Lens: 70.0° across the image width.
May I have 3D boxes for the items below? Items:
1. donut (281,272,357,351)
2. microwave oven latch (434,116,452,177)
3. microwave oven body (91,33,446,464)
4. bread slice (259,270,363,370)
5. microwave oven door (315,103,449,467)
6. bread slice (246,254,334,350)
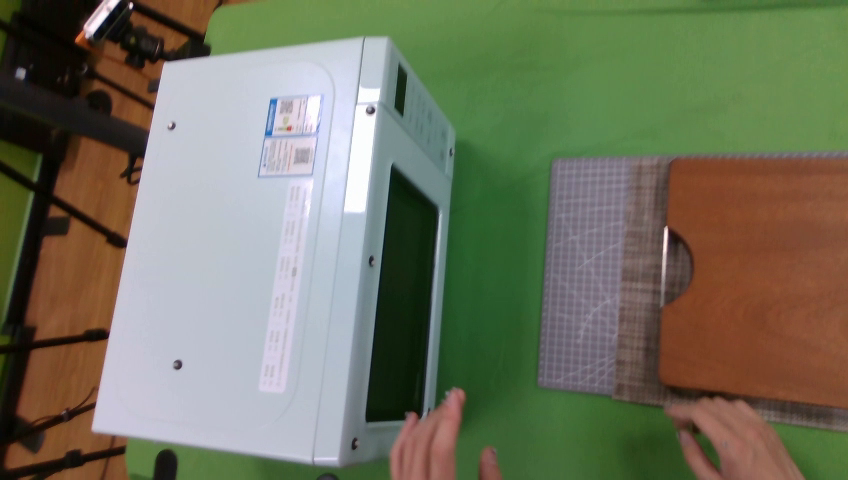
[{"bbox_3d":[-0.131,0.089,0.753,0.099,0.048,0.099,1,93,11],"label":"donut"},{"bbox_3d":[0.021,-0.126,0.823,0.030,0.030,0.079,0,77,20],"label":"microwave oven latch"},{"bbox_3d":[-0.166,0.022,0.748,0.325,0.262,0.439,0,77,20],"label":"microwave oven body"},{"bbox_3d":[-0.154,0.098,0.788,0.131,0.019,0.105,17,87,18],"label":"bread slice"},{"bbox_3d":[-0.035,0.060,0.683,0.039,0.246,0.354,-1,76,21],"label":"microwave oven door"},{"bbox_3d":[-0.159,0.081,0.714,0.134,0.018,0.106,-12,73,32],"label":"bread slice"}]
